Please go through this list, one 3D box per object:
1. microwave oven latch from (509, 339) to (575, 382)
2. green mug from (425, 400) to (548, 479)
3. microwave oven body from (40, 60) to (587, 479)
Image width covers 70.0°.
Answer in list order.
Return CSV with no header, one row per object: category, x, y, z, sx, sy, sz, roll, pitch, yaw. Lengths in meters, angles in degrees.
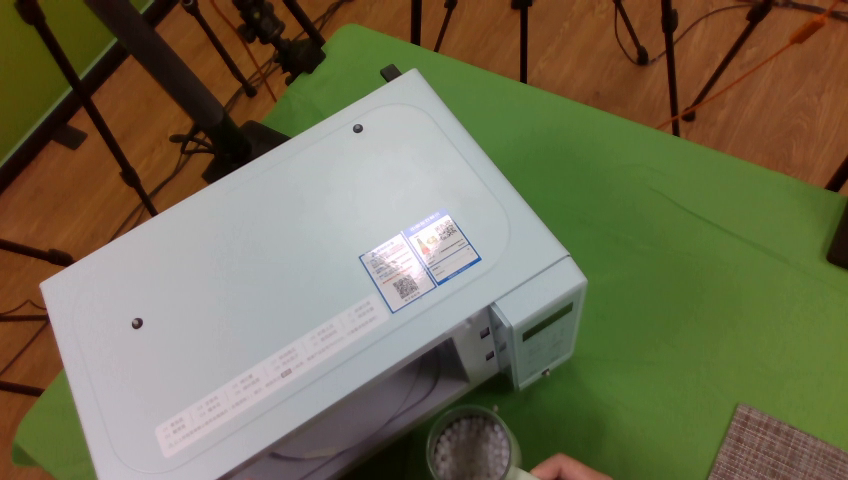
microwave oven latch,0.137,0.132,0.705,0.079,0.030,0.030,-30,64,-5
green mug,0.061,0.210,0.584,0.124,0.106,0.092,22,70,18
microwave oven body,-0.104,0.075,0.665,0.442,0.262,0.323,-32,64,-6
